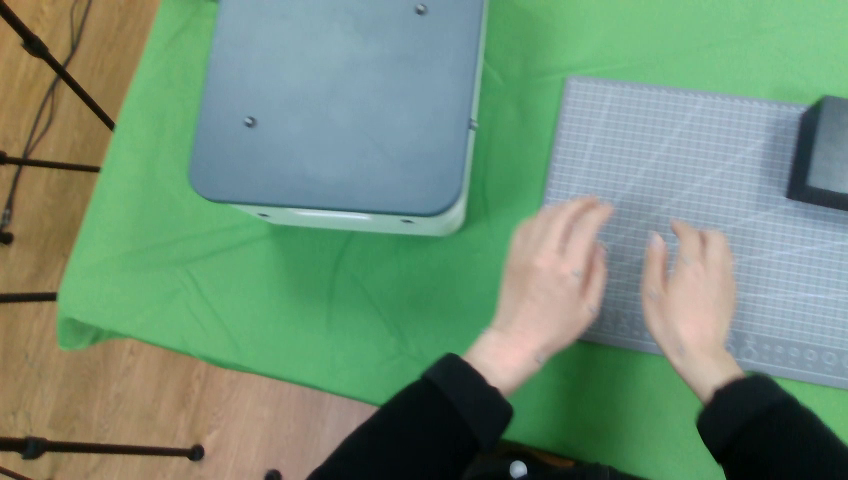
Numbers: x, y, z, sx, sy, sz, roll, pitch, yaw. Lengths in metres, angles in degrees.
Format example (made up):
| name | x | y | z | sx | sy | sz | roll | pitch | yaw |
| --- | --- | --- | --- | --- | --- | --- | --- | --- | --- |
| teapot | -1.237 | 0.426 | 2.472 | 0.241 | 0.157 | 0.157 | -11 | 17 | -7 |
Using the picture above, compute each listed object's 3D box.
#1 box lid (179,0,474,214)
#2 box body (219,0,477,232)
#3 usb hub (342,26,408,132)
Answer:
| name | x | y | z | sx | sy | sz | roll | pitch | yaw |
| --- | --- | --- | --- | --- | --- | --- | --- | --- | --- |
| box lid | -0.085 | -0.209 | 0.579 | 0.263 | 0.015 | 0.370 | 4 | 81 | 8 |
| box body | -0.076 | -0.197 | 0.652 | 0.254 | 0.161 | 0.362 | 4 | 81 | 7 |
| usb hub | -0.056 | -0.189 | 0.705 | 0.049 | 0.025 | 0.124 | 10 | 75 | 11 |
